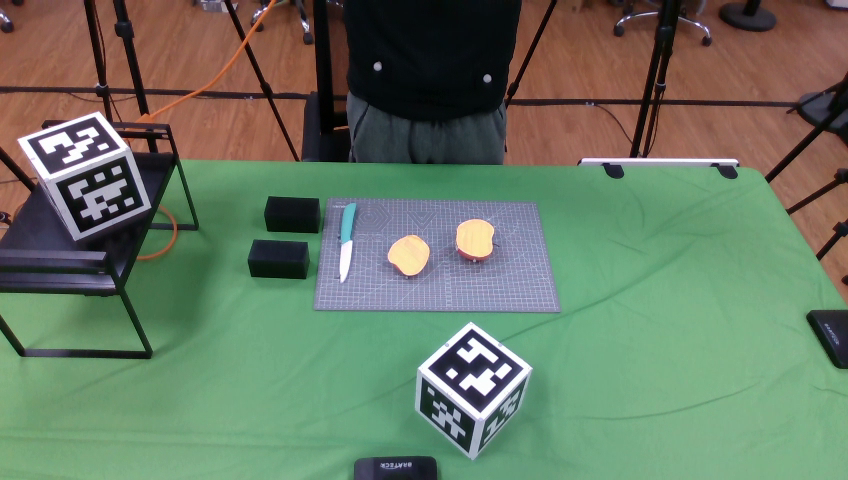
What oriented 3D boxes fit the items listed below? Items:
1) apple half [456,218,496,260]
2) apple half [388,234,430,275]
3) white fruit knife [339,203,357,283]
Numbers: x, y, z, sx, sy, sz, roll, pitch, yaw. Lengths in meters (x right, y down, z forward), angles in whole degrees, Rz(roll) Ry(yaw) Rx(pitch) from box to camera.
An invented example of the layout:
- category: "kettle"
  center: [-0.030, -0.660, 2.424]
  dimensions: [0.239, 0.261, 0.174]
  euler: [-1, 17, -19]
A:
- category: "apple half"
  center: [0.098, 0.003, 1.168]
  dimensions: [0.075, 0.053, 0.080]
  euler: [4, 68, -4]
- category: "apple half"
  center: [-0.023, 0.031, 1.143]
  dimensions: [0.081, 0.033, 0.081]
  euler: [-4, 67, 9]
- category: "white fruit knife"
  center: [-0.151, 0.003, 1.179]
  dimensions: [0.027, 0.016, 0.206]
  euler: [-7, 47, 7]
